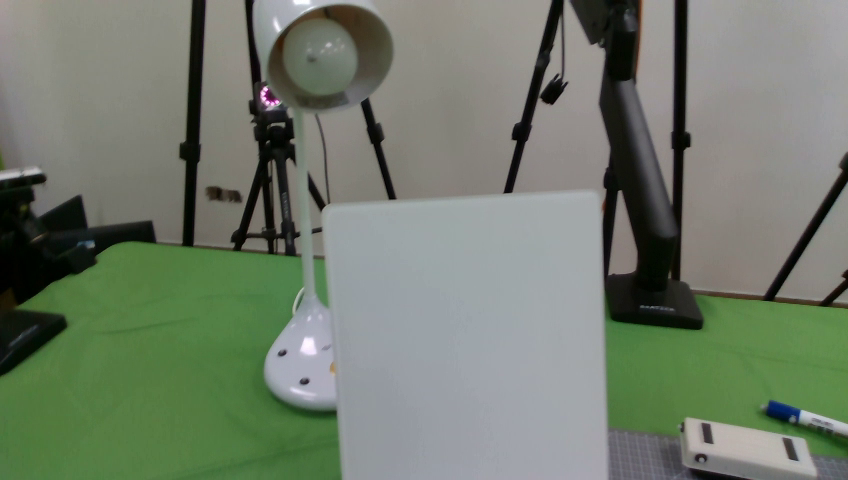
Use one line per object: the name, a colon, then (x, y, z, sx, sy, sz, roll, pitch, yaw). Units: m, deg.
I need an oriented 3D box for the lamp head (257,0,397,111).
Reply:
lamp head: (-0.096, -0.189, 0.527, 0.113, 0.113, 0.121, -12, 53, -25)

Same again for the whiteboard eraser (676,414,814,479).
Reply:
whiteboard eraser: (0.303, 0.203, 0.578, 0.112, 0.042, 0.055, 8, 27, 15)

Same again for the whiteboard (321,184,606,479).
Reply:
whiteboard: (0.030, 0.108, 0.536, 0.218, 0.306, 0.143, -4, 7, -9)

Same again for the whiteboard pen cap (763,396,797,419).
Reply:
whiteboard pen cap: (0.388, 0.183, 0.658, 0.033, 0.018, 0.018, 15, 29, 33)

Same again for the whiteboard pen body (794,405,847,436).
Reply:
whiteboard pen body: (0.436, 0.195, 0.627, 0.139, 0.017, 0.017, 16, 29, 32)

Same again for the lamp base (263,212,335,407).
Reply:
lamp base: (-0.115, 0.068, 0.693, 0.161, 0.181, 0.177, -18, 29, -34)
